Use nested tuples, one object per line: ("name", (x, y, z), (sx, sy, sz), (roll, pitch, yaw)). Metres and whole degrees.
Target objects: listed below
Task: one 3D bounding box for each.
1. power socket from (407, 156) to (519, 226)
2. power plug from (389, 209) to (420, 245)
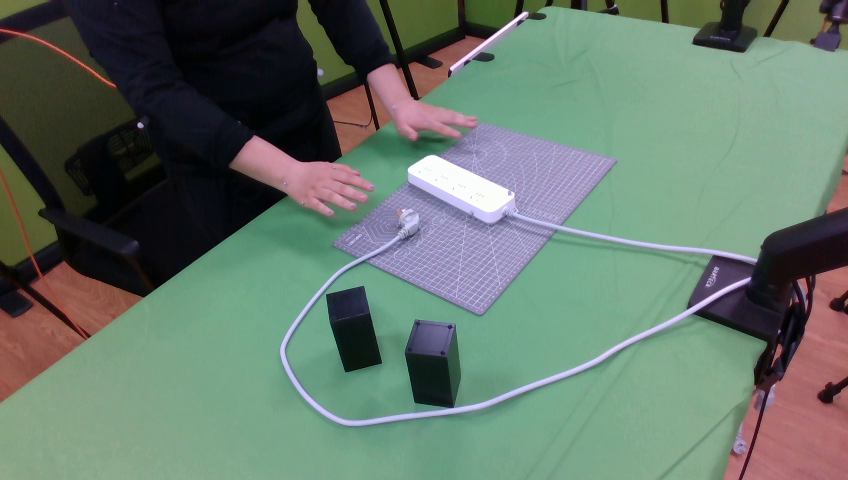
("power socket", (0.062, -0.089, 1.053), (0.072, 0.033, 0.225), (-36, 48, -29))
("power plug", (-0.039, -0.027, 0.988), (0.073, 0.035, 0.052), (-23, 44, -32))
